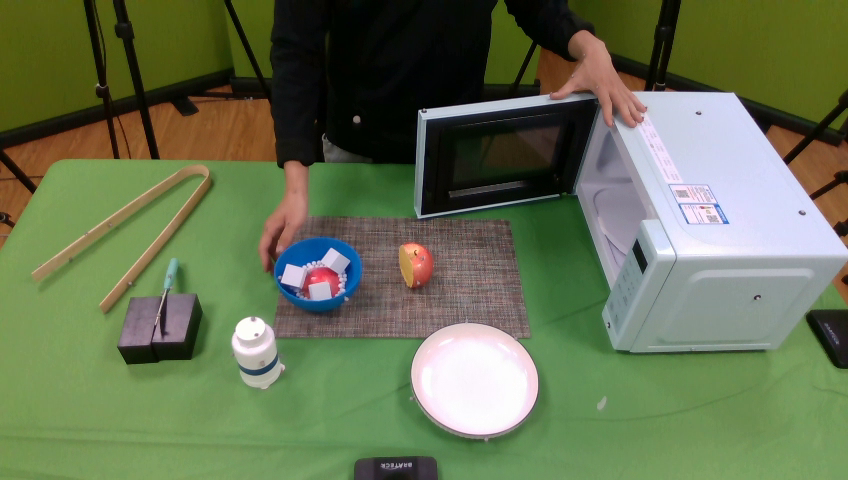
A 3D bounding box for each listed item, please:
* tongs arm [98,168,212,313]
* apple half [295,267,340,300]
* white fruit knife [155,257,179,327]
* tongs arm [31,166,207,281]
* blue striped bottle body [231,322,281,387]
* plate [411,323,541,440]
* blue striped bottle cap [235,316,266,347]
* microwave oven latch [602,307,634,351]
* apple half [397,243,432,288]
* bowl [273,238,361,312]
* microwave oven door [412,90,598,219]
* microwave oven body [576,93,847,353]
[{"bbox_3d":[-0.504,-0.012,1.167,0.028,0.028,0.385,11,46,11],"label":"tongs arm"},{"bbox_3d":[-0.187,0.071,1.067,0.081,0.033,0.081,3,46,-3],"label":"apple half"},{"bbox_3d":[-0.440,0.085,1.037,0.016,0.027,0.206,10,26,-19],"label":"white fruit knife"},{"bbox_3d":[-0.578,-0.040,1.185,0.050,0.026,0.384,23,48,17],"label":"tongs arm"},{"bbox_3d":[-0.262,0.171,0.944,0.063,0.121,0.062,2,46,-2],"label":"blue striped bottle body"},{"bbox_3d":[0.082,0.228,0.976,0.208,0.039,0.206,2,45,-2],"label":"plate"},{"bbox_3d":[-0.260,0.137,0.907,0.044,0.021,0.044,3,43,-2],"label":"blue striped bottle cap"},{"bbox_3d":[0.332,0.153,1.044,0.030,0.029,0.078,0,45,-4],"label":"microwave oven latch"},{"bbox_3d":[-0.013,0.047,1.115,0.053,0.075,0.080,-10,43,-21],"label":"apple half"},{"bbox_3d":[-0.186,0.075,1.070,0.151,0.077,0.150,3,45,-3],"label":"bowl"},{"bbox_3d":[0.155,-0.168,1.201,0.356,0.245,0.039,-10,47,-14],"label":"microwave oven door"},{"bbox_3d":[0.475,-0.041,1.110,0.326,0.261,0.438,-1,45,-4],"label":"microwave oven body"}]
